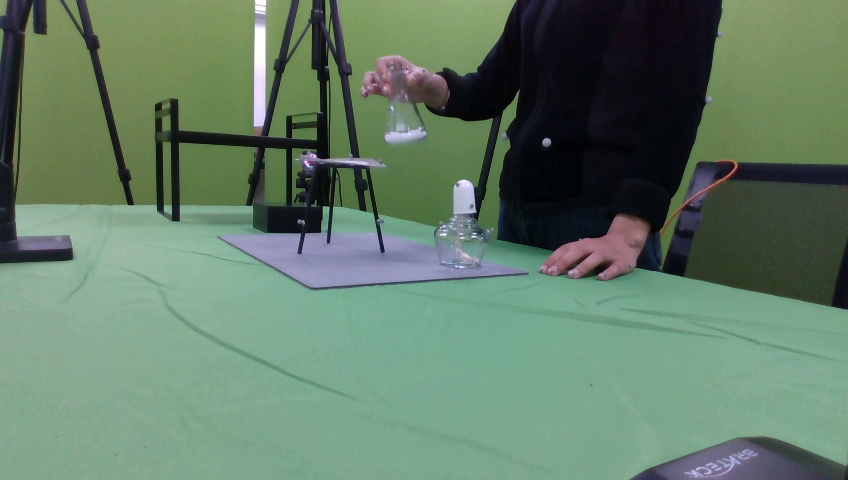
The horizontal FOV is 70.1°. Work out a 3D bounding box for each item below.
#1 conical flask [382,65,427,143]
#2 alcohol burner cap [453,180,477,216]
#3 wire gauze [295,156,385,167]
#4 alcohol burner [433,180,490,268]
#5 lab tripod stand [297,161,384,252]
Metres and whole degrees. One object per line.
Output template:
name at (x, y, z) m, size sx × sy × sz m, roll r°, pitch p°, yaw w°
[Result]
conical flask at (-0.038, -0.222, 0.989) m, size 0.075 × 0.122 × 0.075 m, roll -6°, pitch 10°, yaw 1°
alcohol burner cap at (0.054, -0.057, 0.811) m, size 0.034 × 0.048 × 0.034 m, roll -3°, pitch 6°, yaw 1°
wire gauze at (-0.128, -0.118, 0.901) m, size 0.125 × 0.011 × 0.121 m, roll 0°, pitch 8°, yaw -14°
alcohol burner at (0.052, -0.021, 0.815) m, size 0.078 × 0.119 × 0.078 m, roll 4°, pitch 7°, yaw 0°
lab tripod stand at (-0.130, -0.051, 0.903) m, size 0.148 × 0.131 × 0.148 m, roll 4°, pitch 9°, yaw 0°
